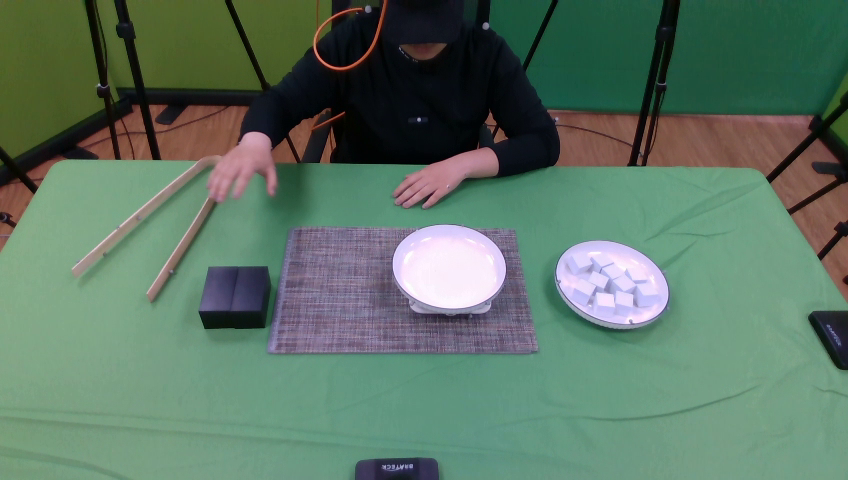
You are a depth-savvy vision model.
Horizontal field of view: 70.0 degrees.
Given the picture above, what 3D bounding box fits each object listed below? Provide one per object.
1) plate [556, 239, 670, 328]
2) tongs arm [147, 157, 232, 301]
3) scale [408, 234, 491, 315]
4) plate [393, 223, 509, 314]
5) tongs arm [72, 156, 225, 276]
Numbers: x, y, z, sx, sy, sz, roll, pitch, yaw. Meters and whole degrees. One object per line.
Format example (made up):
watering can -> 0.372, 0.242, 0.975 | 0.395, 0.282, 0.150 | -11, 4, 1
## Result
plate -> 0.347, 0.083, 1.130 | 0.209, 0.038, 0.208 | 2, 47, -2
tongs arm -> -0.453, -0.035, 1.193 | 0.028, 0.028, 0.385 | 7, 46, 6
scale -> 0.045, 0.055, 1.135 | 0.149, 0.032, 0.199 | 1, 46, -3
plate -> 0.048, 0.053, 1.091 | 0.208, 0.039, 0.206 | 1, 46, -1
tongs arm -> -0.531, -0.058, 1.204 | 0.050, 0.026, 0.383 | 19, 47, 13
